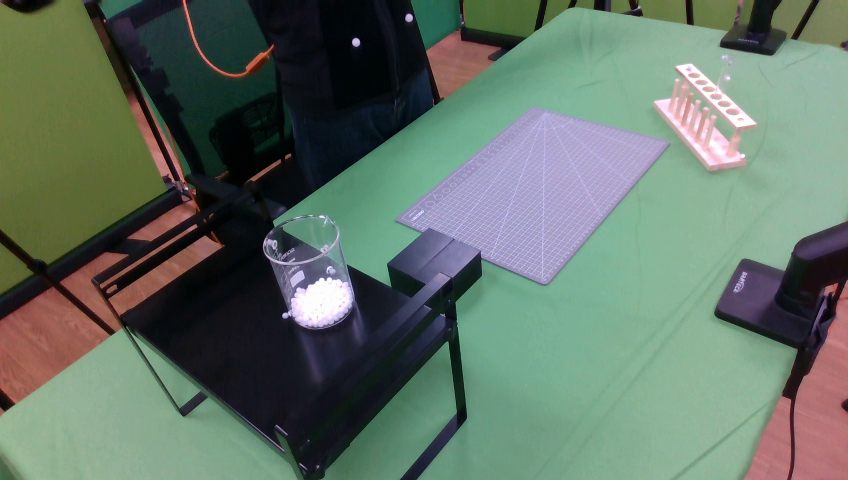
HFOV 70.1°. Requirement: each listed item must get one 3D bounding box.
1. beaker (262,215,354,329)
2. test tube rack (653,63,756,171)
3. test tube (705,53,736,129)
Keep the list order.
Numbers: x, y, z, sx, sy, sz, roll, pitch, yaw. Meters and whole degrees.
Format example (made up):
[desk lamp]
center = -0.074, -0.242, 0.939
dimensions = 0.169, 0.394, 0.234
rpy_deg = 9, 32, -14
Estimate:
[beaker]
center = -0.112, 0.034, 0.616
dimensions = 0.073, 0.101, 0.084
rpy_deg = 13, 44, 23
[test tube rack]
center = 0.510, -0.233, 1.120
dimensions = 0.067, 0.085, 0.241
rpy_deg = -9, 41, -1
[test tube]
center = 0.525, -0.260, 1.074
dimensions = 0.017, 0.151, 0.017
rpy_deg = -2, 44, 3
